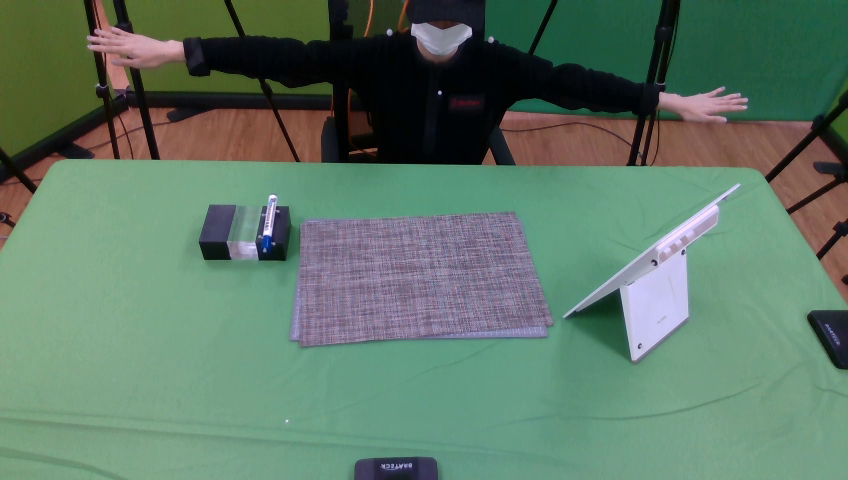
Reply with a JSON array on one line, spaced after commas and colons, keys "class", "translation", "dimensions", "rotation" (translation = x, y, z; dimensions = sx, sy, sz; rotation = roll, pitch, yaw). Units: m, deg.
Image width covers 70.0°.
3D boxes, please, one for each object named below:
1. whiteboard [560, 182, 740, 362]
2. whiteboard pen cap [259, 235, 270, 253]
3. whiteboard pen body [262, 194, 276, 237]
[{"class": "whiteboard", "translation": [0.406, 0.075, 1.001], "dimensions": [0.217, 0.306, 0.143], "rotation": [-28, 73, -28]}, {"class": "whiteboard pen cap", "translation": [-0.289, 0.005, 1.103], "dimensions": [0.018, 0.018, 0.033], "rotation": [0, 48, -5]}, {"class": "whiteboard pen body", "translation": [-0.294, -0.038, 1.145], "dimensions": [0.017, 0.017, 0.140], "rotation": [-1, 46, -5]}]
